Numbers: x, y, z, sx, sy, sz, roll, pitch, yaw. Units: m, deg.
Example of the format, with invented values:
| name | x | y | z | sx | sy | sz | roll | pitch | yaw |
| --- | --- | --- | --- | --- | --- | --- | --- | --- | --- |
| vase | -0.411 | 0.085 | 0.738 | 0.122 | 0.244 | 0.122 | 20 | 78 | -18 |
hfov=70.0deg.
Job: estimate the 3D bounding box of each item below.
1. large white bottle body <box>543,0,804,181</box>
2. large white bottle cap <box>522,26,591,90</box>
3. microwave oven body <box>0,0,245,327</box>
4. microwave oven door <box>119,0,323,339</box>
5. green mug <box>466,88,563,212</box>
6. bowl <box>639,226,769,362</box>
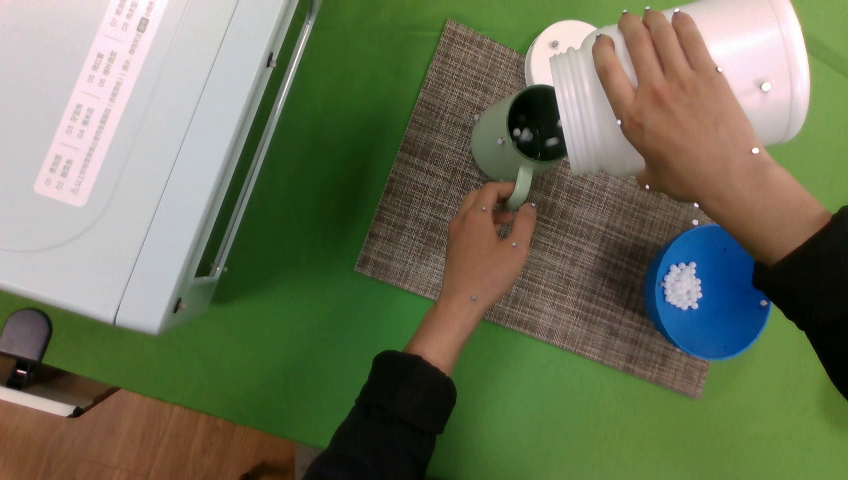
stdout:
| name | x | y | z | sx | sy | sz | roll | pitch | yaw |
| --- | --- | --- | --- | --- | --- | --- | --- | --- | --- |
| large white bottle body | 0.205 | -0.125 | 0.524 | 0.184 | 0.131 | 0.130 | -12 | 90 | 14 |
| large white bottle cap | 0.170 | -0.192 | 0.706 | 0.115 | 0.018 | 0.114 | 2 | 83 | -15 |
| microwave oven body | -0.270 | -0.191 | 0.475 | 0.327 | 0.259 | 0.440 | 20 | 84 | -13 |
| microwave oven door | -0.147 | -0.102 | 0.497 | 0.039 | 0.243 | 0.355 | 20 | 83 | -12 |
| green mug | 0.097 | -0.091 | 0.641 | 0.093 | 0.104 | 0.125 | 13 | 84 | -14 |
| bowl | 0.307 | 0.061 | 0.700 | 0.152 | 0.076 | 0.151 | 1 | 87 | -13 |
